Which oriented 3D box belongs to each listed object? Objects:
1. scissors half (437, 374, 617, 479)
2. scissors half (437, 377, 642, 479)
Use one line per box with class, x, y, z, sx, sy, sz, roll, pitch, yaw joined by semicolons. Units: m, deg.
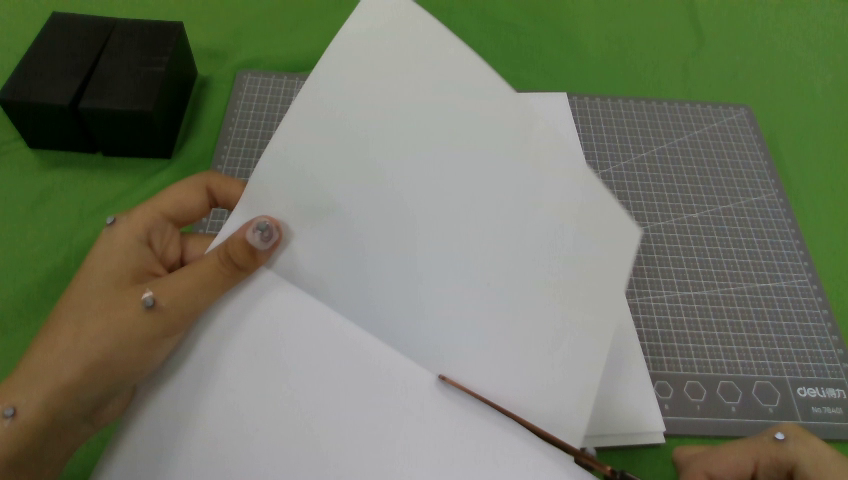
scissors half;0.082;0.105;0.279;0.175;0.040;0.013;30;81;-3
scissors half;0.082;0.100;0.259;0.174;0.040;0.013;25;75;18
